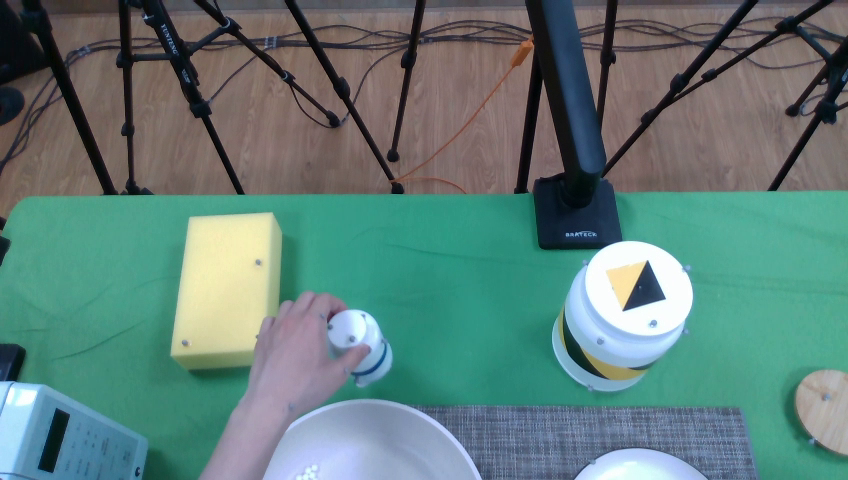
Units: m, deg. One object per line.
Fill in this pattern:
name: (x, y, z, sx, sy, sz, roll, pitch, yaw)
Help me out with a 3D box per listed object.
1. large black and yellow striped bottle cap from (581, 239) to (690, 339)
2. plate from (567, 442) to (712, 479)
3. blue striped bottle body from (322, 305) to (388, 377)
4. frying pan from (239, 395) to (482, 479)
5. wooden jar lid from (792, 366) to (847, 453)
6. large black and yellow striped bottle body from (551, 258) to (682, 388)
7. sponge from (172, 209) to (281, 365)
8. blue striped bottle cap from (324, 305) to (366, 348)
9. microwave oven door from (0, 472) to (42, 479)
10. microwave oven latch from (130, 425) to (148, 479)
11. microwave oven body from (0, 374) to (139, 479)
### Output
large black and yellow striped bottle cap: (0.231, 0.052, 0.662, 0.115, 0.019, 0.114, -1, 60, 1)
plate: (0.248, 0.337, 0.683, 0.209, 0.038, 0.207, 0, 61, 1)
blue striped bottle body: (-0.081, 0.116, 0.707, 0.063, 0.122, 0.062, -2, 65, 5)
frying pan: (-0.071, 0.407, 0.612, 0.307, 0.104, 0.483, -2, 53, 3)
wooden jar lid: (0.517, 0.213, 0.761, 0.108, 0.021, 0.107, 0, 63, 1)
large black and yellow striped bottle body: (0.233, 0.093, 0.738, 0.131, 0.185, 0.129, 0, 61, 1)
sponge: (-0.266, 0.061, 0.832, 0.118, 0.061, 0.205, -5, 61, -1)
blue striped bottle cap: (-0.086, 0.094, 0.662, 0.044, 0.021, 0.044, -2, 67, 4)
microwave oven door: (-0.360, 0.402, 0.523, 0.039, 0.246, 0.352, 0, 61, 1)
microwave oven latch: (-0.350, 0.261, 0.716, 0.030, 0.030, 0.078, 1, 62, 1)
microwave oven body: (-0.505, 0.366, 0.550, 0.326, 0.262, 0.438, 1, 62, 1)
